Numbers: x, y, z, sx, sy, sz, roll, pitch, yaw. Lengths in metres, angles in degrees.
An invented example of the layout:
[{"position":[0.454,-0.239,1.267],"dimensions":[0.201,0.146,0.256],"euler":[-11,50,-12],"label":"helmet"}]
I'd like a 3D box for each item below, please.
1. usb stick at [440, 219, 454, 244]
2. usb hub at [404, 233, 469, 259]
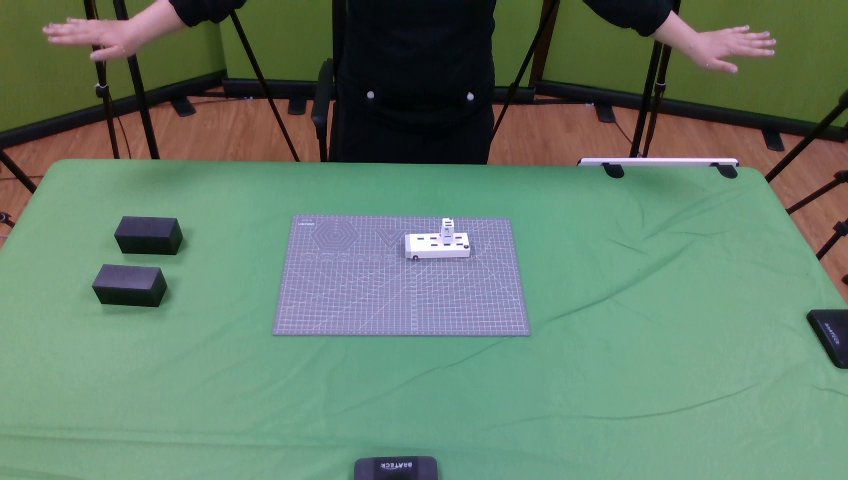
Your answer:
[{"position":[0.043,-0.011,1.166],"dimensions":[0.021,0.059,0.027],"euler":[-3,48,-8],"label":"usb stick"},{"position":[0.024,0.012,1.181],"dimensions":[0.125,0.025,0.049],"euler":[-2,47,-5],"label":"usb hub"}]
